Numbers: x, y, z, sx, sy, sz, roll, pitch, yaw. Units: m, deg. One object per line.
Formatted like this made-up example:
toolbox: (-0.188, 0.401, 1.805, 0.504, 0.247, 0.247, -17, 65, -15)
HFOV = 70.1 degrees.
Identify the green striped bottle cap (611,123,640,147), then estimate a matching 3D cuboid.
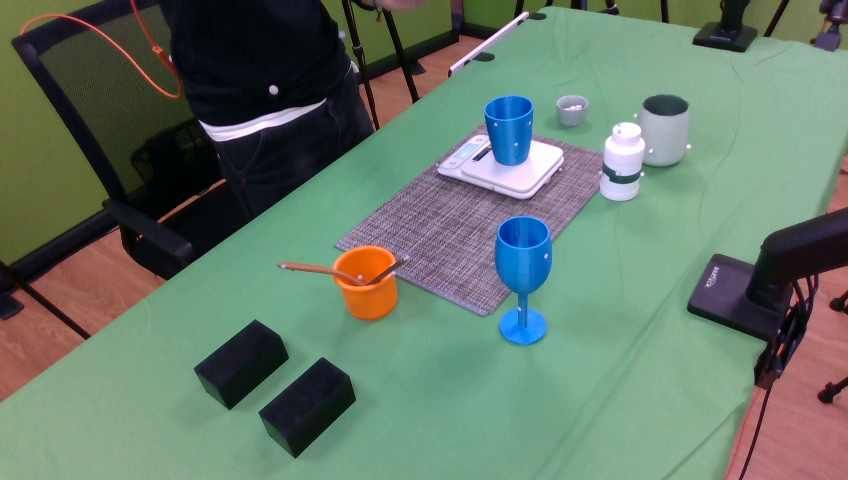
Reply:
green striped bottle cap: (0.322, -0.168, 0.963, 0.044, 0.020, 0.044, -3, 42, 3)

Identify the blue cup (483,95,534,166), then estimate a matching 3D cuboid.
blue cup: (0.150, -0.187, 1.051, 0.092, 0.101, 0.092, -6, 41, 6)

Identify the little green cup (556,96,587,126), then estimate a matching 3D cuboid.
little green cup: (0.295, -0.258, 1.214, 0.061, 0.039, 0.061, -4, 42, 4)

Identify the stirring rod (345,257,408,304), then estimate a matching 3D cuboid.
stirring rod: (-0.067, 0.057, 0.815, 0.014, 0.175, 0.006, -24, 82, -38)

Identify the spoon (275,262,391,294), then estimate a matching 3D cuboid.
spoon: (-0.120, 0.050, 0.830, 0.041, 0.195, 0.021, 32, 97, 45)

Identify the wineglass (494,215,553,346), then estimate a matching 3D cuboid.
wineglass: (0.127, 0.055, 0.770, 0.074, 0.173, 0.073, -4, 40, 4)

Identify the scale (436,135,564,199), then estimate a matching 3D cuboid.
scale: (0.137, -0.142, 1.101, 0.199, 0.032, 0.149, 22, 48, 30)

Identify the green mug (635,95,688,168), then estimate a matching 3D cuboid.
green mug: (0.421, -0.201, 1.081, 0.092, 0.105, 0.125, 5, 42, 15)

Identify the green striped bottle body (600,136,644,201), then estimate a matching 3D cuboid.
green striped bottle body: (0.326, -0.128, 0.997, 0.063, 0.120, 0.063, -4, 41, 4)
